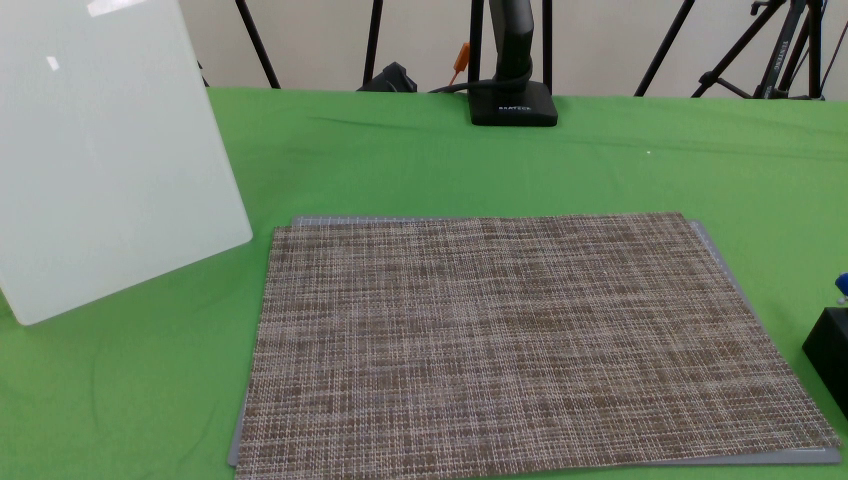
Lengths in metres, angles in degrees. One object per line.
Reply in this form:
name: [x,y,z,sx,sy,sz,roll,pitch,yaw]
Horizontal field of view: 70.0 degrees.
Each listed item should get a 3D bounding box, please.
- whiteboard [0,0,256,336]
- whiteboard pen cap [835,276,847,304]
whiteboard: [-0.324,-0.109,0.569,0.217,0.307,0.142,-24,26,-28]
whiteboard pen cap: [0.362,0.046,0.508,0.018,0.018,0.033,0,37,-2]
